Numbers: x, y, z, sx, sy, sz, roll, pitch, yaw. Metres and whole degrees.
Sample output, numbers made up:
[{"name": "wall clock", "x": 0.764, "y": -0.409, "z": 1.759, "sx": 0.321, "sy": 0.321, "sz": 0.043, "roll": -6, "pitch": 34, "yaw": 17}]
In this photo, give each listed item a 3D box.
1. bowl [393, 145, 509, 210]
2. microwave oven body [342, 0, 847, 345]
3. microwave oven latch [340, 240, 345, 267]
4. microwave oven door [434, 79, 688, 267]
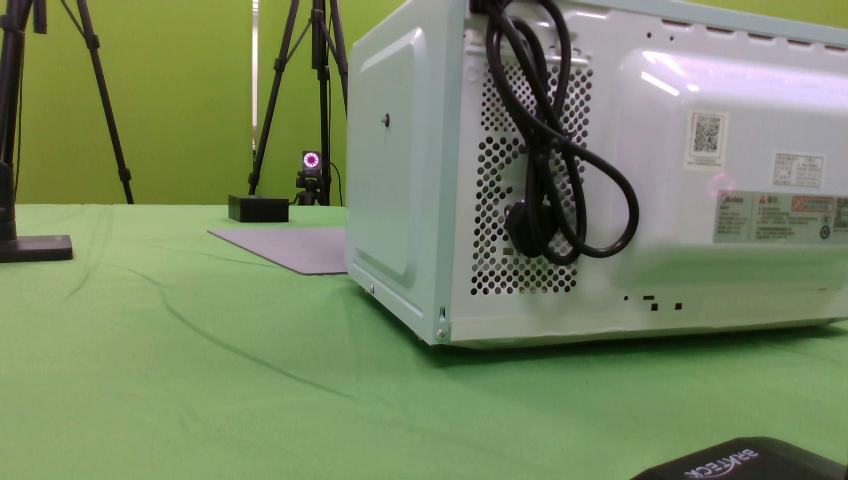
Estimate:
[{"name": "bowl", "x": 0.034, "y": -0.080, "z": 0.784, "sx": 0.151, "sy": 0.077, "sz": 0.151, "roll": 2, "pitch": 5, "yaw": 0}, {"name": "microwave oven body", "x": 0.169, "y": -0.060, "z": 0.573, "sx": 0.444, "sy": 0.260, "sz": 0.324, "roll": 1, "pitch": 7, "yaw": -20}, {"name": "microwave oven latch", "x": -0.052, "y": 0.016, "z": 0.662, "sx": 0.079, "sy": 0.029, "sz": 0.030, "roll": 1, "pitch": 7, "yaw": -18}, {"name": "microwave oven door", "x": 0.179, "y": -0.102, "z": 0.868, "sx": 0.354, "sy": 0.243, "sz": 0.039, "roll": 7, "pitch": 9, "yaw": 31}]
